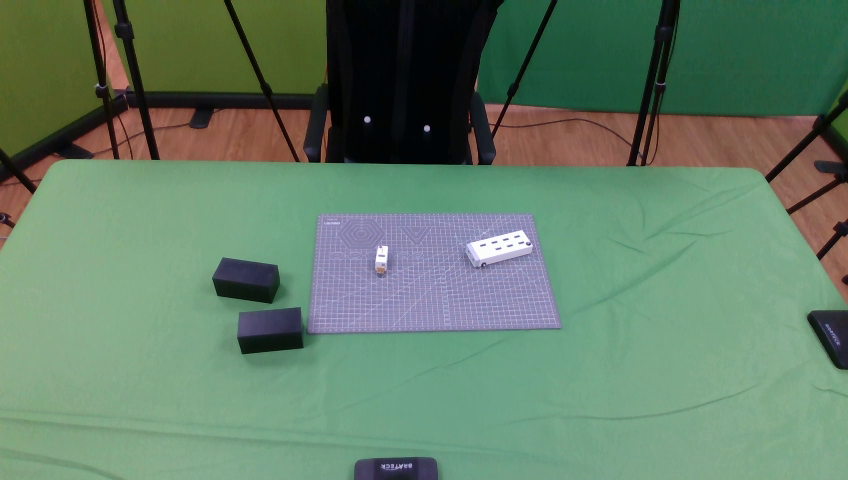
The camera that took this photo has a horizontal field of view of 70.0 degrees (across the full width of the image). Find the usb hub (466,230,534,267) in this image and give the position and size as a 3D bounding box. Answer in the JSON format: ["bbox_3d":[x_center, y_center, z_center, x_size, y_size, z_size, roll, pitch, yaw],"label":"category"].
[{"bbox_3d":[0.148,0.017,1.185,0.125,0.025,0.049,-14,49,-16],"label":"usb hub"}]

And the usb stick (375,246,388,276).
[{"bbox_3d":[-0.081,0.040,1.146,0.021,0.027,0.059,6,48,-1],"label":"usb stick"}]
